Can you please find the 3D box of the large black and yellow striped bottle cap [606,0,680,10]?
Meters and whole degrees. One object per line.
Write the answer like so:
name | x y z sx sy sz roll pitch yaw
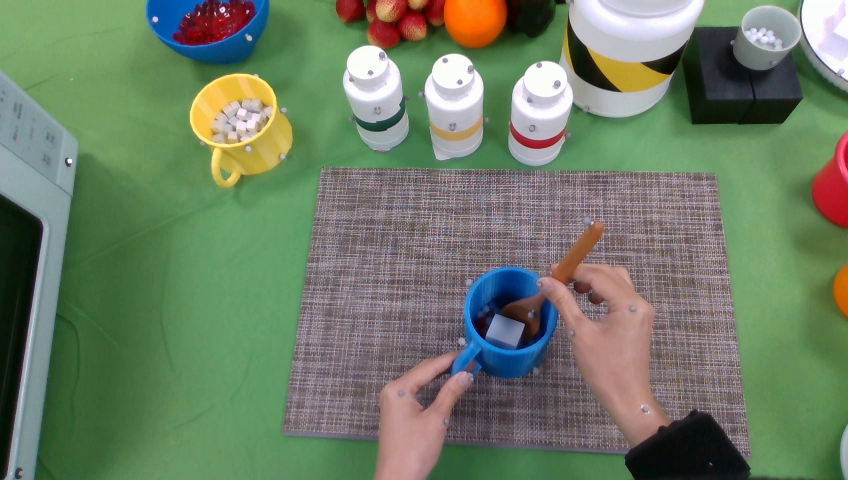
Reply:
large black and yellow striped bottle cap | 0.208 -0.270 0.577 0.115 0.019 0.114 -2 67 5

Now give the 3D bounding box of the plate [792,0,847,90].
plate | 0.537 -0.247 0.711 0.209 0.038 0.207 -1 68 4

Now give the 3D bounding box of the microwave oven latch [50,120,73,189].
microwave oven latch | -0.432 -0.098 0.708 0.030 0.030 0.078 -6 68 2

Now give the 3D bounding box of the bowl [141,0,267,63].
bowl | -0.265 -0.280 0.766 0.151 0.077 0.150 -1 68 3

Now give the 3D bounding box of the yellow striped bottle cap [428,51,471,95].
yellow striped bottle cap | 0.026 -0.172 0.621 0.044 0.019 0.044 -1 69 4

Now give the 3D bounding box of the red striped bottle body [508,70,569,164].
red striped bottle body | 0.123 -0.139 0.656 0.063 0.120 0.062 -3 66 6

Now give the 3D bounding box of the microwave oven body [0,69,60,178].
microwave oven body | -0.568 0.046 0.556 0.326 0.262 0.438 -7 68 1

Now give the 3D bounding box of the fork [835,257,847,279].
fork | 0.468 0.056 0.534 0.028 0.019 0.205 -36 25 -9

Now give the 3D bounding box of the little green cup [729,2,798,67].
little green cup | 0.366 -0.221 0.659 0.061 0.039 0.061 -1 66 2

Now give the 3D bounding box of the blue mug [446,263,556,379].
blue mug | 0.066 0.088 0.573 0.116 0.106 0.082 -41 70 -12

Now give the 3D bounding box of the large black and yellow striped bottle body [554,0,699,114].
large black and yellow striped bottle body | 0.216 -0.239 0.655 0.131 0.185 0.130 -2 68 4

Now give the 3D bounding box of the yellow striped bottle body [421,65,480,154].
yellow striped bottle body | 0.031 -0.152 0.668 0.063 0.121 0.062 -2 67 5

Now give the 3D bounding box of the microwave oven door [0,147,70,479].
microwave oven door | -0.419 0.064 0.531 0.039 0.245 0.353 -8 67 2

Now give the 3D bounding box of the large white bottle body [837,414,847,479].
large white bottle body | 0.436 0.171 0.471 0.130 0.186 0.129 -2 67 4

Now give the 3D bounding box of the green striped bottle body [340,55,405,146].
green striped bottle body | -0.057 -0.163 0.680 0.063 0.120 0.062 -1 68 4

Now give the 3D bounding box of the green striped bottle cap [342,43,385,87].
green striped bottle cap | -0.063 -0.183 0.632 0.044 0.020 0.044 -1 68 2

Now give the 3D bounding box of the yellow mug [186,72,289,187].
yellow mug | -0.221 -0.123 0.706 0.100 0.064 0.130 11 70 8

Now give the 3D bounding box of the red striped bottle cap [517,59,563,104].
red striped bottle cap | 0.117 -0.160 0.608 0.044 0.018 0.044 0 67 1

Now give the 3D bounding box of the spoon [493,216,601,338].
spoon | 0.105 0.039 0.528 0.041 0.195 0.021 34 57 6
